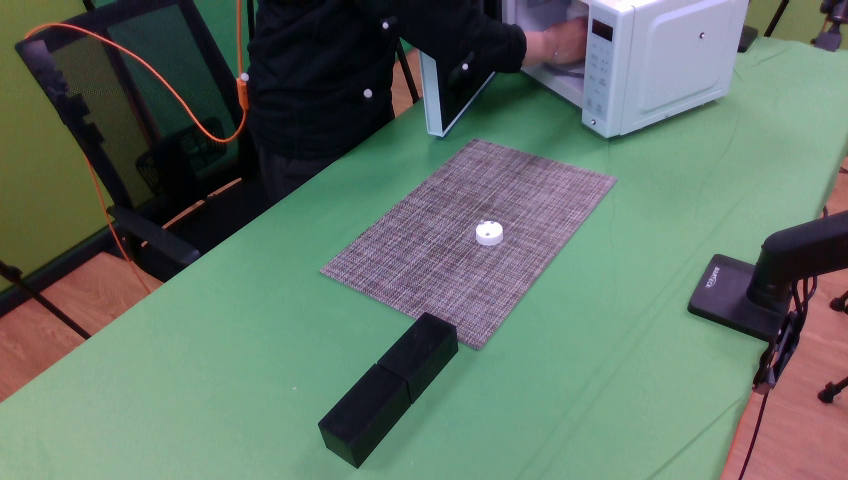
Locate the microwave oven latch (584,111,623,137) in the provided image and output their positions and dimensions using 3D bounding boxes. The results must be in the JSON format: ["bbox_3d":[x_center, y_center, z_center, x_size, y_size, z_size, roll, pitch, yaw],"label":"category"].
[{"bbox_3d":[0.337,-0.222,1.142,0.030,0.029,0.078,-21,42,-14],"label":"microwave oven latch"}]

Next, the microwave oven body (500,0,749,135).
[{"bbox_3d":[0.382,-0.444,1.246,0.327,0.261,0.437,-22,42,-16],"label":"microwave oven body"}]

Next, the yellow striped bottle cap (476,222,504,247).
[{"bbox_3d":[0.105,-0.010,0.966,0.044,0.019,0.044,-4,39,3],"label":"yellow striped bottle cap"}]

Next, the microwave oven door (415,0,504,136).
[{"bbox_3d":[0.084,-0.409,1.239,0.039,0.245,0.356,13,45,23],"label":"microwave oven door"}]

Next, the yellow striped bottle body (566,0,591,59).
[{"bbox_3d":[0.328,-0.445,1.252,0.063,0.121,0.062,-8,43,8],"label":"yellow striped bottle body"}]
